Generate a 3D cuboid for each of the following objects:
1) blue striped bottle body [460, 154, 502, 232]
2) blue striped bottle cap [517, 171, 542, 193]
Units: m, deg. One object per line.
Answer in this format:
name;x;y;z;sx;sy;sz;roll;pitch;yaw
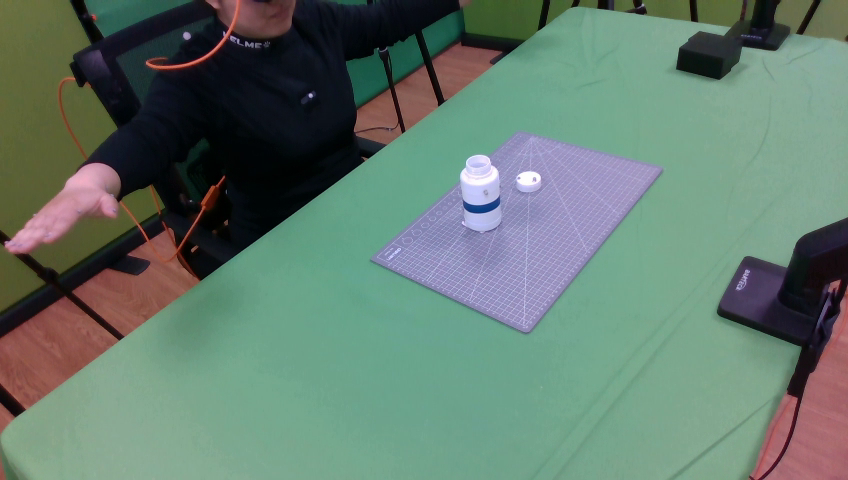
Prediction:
blue striped bottle body;0.092;-0.078;0.976;0.063;0.121;0.063;-6;40;5
blue striped bottle cap;0.187;-0.103;1.072;0.044;0.021;0.044;-5;42;5
